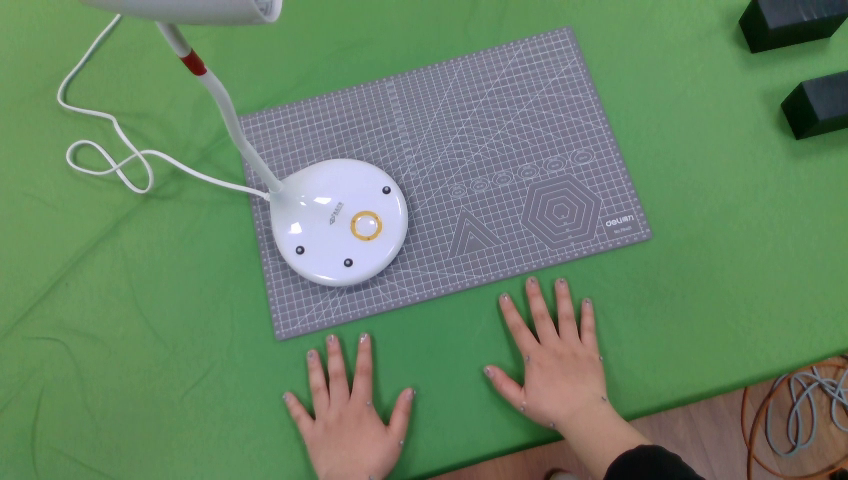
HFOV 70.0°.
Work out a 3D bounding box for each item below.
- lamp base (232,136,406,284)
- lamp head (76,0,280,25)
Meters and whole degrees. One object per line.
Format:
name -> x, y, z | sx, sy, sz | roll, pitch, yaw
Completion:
lamp base -> -0.121, -0.050, 0.647 | 0.179, 0.181, 0.160 | 10, 74, 11
lamp head -> -0.152, -0.172, 0.344 | 0.123, 0.113, 0.111 | -8, 73, 8
